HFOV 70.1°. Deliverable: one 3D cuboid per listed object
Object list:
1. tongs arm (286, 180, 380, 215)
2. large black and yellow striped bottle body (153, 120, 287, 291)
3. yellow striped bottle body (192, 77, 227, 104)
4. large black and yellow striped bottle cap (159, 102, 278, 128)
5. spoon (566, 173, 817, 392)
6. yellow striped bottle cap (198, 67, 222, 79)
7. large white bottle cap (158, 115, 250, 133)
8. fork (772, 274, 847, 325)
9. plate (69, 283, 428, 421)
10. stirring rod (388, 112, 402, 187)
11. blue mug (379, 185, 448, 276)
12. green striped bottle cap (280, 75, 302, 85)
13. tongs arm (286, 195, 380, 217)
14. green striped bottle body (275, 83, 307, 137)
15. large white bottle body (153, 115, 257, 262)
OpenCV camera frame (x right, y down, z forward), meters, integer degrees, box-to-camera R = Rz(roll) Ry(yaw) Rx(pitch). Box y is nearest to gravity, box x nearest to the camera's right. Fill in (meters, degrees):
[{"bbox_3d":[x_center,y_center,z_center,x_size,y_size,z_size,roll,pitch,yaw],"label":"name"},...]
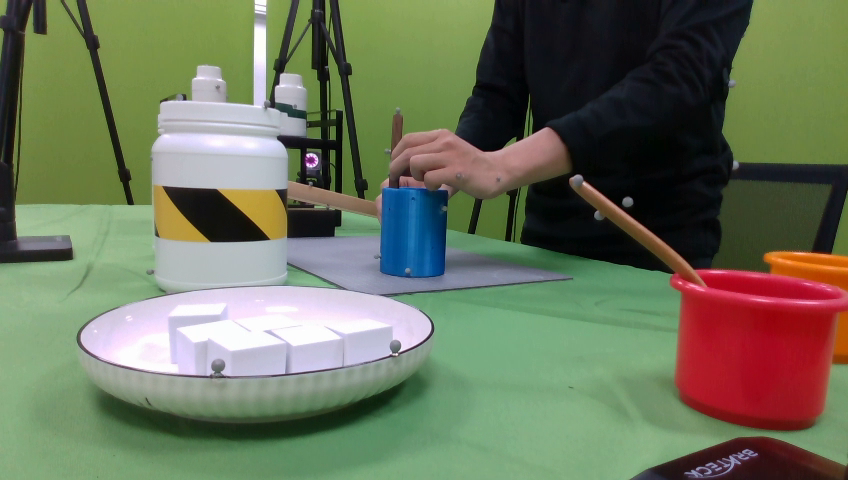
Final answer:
[{"bbox_3d":[-0.122,-0.066,1.147,0.387,0.026,0.050,11,-2,-37],"label":"tongs arm"},{"bbox_3d":[-0.208,-0.042,0.626,0.131,0.184,0.130,2,7,0],"label":"large black and yellow striped bottle body"},{"bbox_3d":[-0.414,-0.268,1.169,0.063,0.120,0.063,2,7,0],"label":"yellow striped bottle body"},{"bbox_3d":[-0.207,-0.125,0.615,0.115,0.019,0.115,2,6,0],"label":"large black and yellow striped bottle cap"},{"bbox_3d":[0.161,0.024,0.370,0.193,0.021,0.042,47,17,3],"label":"spoon"},{"bbox_3d":[-0.412,-0.320,1.162,0.044,0.018,0.044,0,6,0],"label":"yellow striped bottle cap"},{"bbox_3d":[-0.291,-0.153,0.803,0.115,0.018,0.115,1,7,0],"label":"large white bottle cap"},{"bbox_3d":[0.332,0.019,0.444,0.028,0.018,0.207,0,-36,-14],"label":"fork"},{"bbox_3d":[-0.102,0.066,0.381,0.208,0.039,0.207,2,7,0],"label":"plate"},{"bbox_3d":[-0.038,-0.069,0.740,0.014,0.176,0.006,4,1,28],"label":"stirring rod"},{"bbox_3d":[-0.019,-0.016,0.764,0.083,0.106,0.116,-1,7,-19],"label":"blue mug"},{"bbox_3d":[-0.267,-0.320,1.216,0.044,0.020,0.044,2,8,0],"label":"green striped bottle cap"},{"bbox_3d":[-0.165,-0.074,1.216,0.389,0.027,0.028,11,-6,-24],"label":"tongs arm"},{"bbox_3d":[-0.269,-0.269,1.221,0.063,0.119,0.063,2,7,0],"label":"green striped bottle body"},{"bbox_3d":[-0.293,-0.070,0.814,0.131,0.184,0.130,2,7,0],"label":"large white bottle body"}]
